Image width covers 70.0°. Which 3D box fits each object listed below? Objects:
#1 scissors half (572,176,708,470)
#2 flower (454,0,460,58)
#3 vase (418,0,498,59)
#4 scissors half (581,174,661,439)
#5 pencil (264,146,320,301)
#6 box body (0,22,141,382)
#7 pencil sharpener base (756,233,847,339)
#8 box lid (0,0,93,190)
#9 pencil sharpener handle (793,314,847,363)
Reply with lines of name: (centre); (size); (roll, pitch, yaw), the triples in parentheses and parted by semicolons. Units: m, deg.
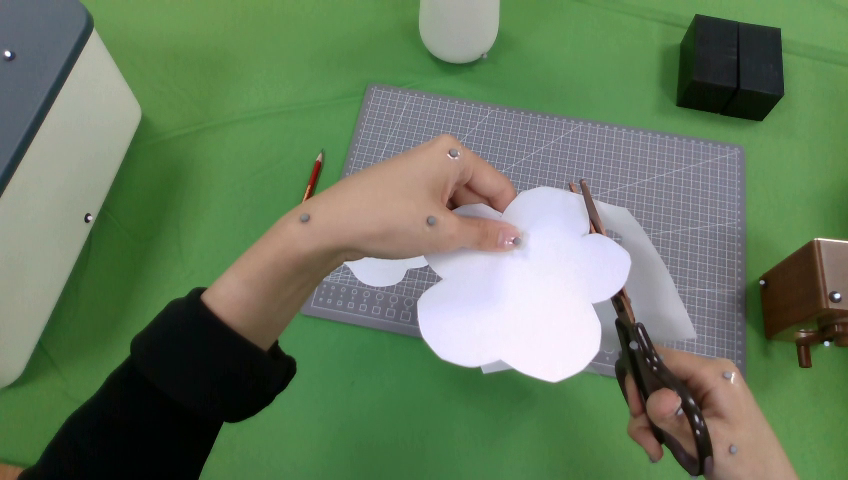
scissors half: (0.118, 0.044, 0.336); (0.013, 0.040, 0.174); (-21, 85, -7)
flower: (0.035, -0.345, 0.606); (0.044, 0.365, 0.038); (4, 49, 5)
vase: (0.040, -0.298, 0.677); (0.098, 0.201, 0.097); (0, 65, 1)
scissors half: (0.115, 0.042, 0.358); (0.013, 0.039, 0.176); (-21, 110, -2)
pencil: (-0.141, -0.024, 0.662); (0.012, 0.012, 0.193); (11, 66, 5)
box body: (-0.475, -0.061, 0.590); (0.254, 0.161, 0.361); (11, 67, 4)
pencil sharpener base: (0.376, 0.050, 0.582); (0.061, 0.108, 0.076); (6, 67, 3)
box lid: (-0.475, -0.093, 0.522); (0.263, 0.015, 0.369); (11, 67, 4)
pencil sharpener handle: (0.366, 0.091, 0.550); (0.036, 0.068, 0.030); (12, 66, -11)
